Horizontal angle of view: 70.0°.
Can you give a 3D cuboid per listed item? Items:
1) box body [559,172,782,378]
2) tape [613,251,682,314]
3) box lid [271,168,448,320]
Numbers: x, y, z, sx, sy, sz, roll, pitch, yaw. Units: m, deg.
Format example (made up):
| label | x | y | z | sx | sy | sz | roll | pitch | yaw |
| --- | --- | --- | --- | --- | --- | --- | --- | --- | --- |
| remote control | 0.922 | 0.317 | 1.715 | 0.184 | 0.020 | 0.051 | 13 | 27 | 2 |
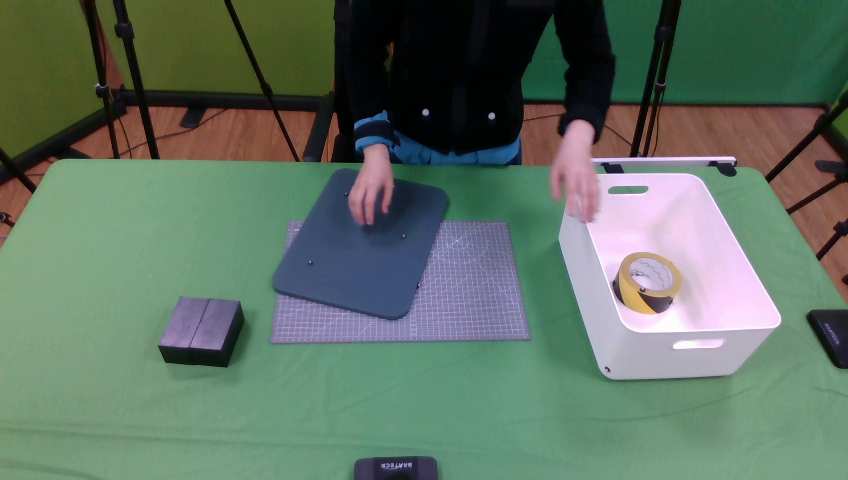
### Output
| label | x | y | z | sx | sy | sz | roll | pitch | yaw |
| --- | --- | --- | --- | --- | --- | --- | --- | --- | --- |
| box body | 0.404 | 0.057 | 1.074 | 0.254 | 0.161 | 0.361 | -2 | 46 | -5 |
| tape | 0.413 | 0.077 | 1.122 | 0.117 | 0.053 | 0.116 | 2 | 45 | -2 |
| box lid | -0.115 | -0.007 | 1.200 | 0.263 | 0.015 | 0.369 | 12 | 46 | 8 |
